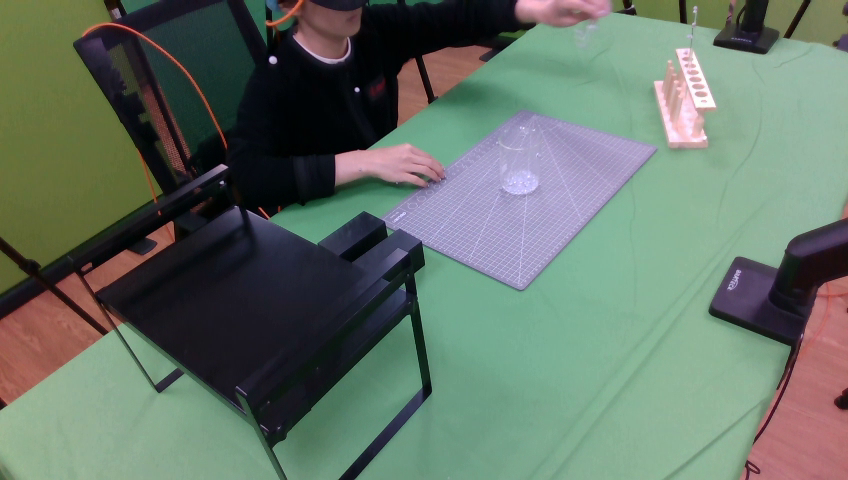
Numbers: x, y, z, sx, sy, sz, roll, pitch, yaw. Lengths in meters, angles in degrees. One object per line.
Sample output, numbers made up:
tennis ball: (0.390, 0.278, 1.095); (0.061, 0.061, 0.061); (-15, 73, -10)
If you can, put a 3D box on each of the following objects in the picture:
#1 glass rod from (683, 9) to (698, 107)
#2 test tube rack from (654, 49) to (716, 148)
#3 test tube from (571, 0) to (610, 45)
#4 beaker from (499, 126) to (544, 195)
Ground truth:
glass rod: (0.501, -0.336, 1.139); (0.008, 0.201, 0.008); (-8, 42, 8)
test tube rack: (0.502, -0.280, 1.176); (0.066, 0.085, 0.241); (1, 41, 11)
test tube: (0.296, -0.388, 1.065); (0.017, 0.017, 0.150); (19, 54, 28)
beaker: (0.170, -0.136, 1.045); (0.073, 0.101, 0.084); (12, 44, 21)
